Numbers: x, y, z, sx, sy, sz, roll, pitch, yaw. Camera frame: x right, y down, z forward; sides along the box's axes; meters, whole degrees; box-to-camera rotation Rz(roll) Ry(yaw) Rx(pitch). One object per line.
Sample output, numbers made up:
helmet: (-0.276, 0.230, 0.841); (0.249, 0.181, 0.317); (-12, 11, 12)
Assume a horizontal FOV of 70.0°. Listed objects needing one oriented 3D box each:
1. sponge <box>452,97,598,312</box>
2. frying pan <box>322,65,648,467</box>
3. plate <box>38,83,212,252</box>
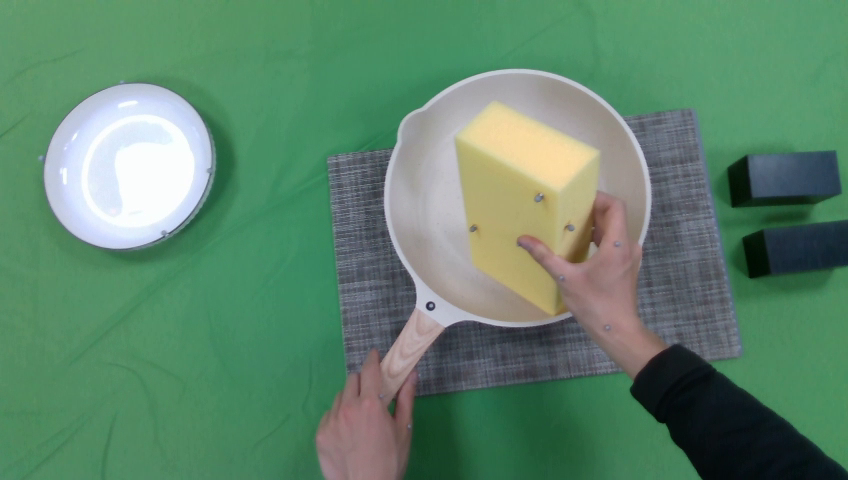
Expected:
sponge: (0.101, -0.027, 0.610); (0.117, 0.209, 0.061); (33, 65, 30)
frying pan: (0.040, 0.031, 0.667); (0.306, 0.103, 0.487); (34, 76, 8)
plate: (-0.357, -0.086, 0.738); (0.207, 0.039, 0.207); (0, 81, 2)
